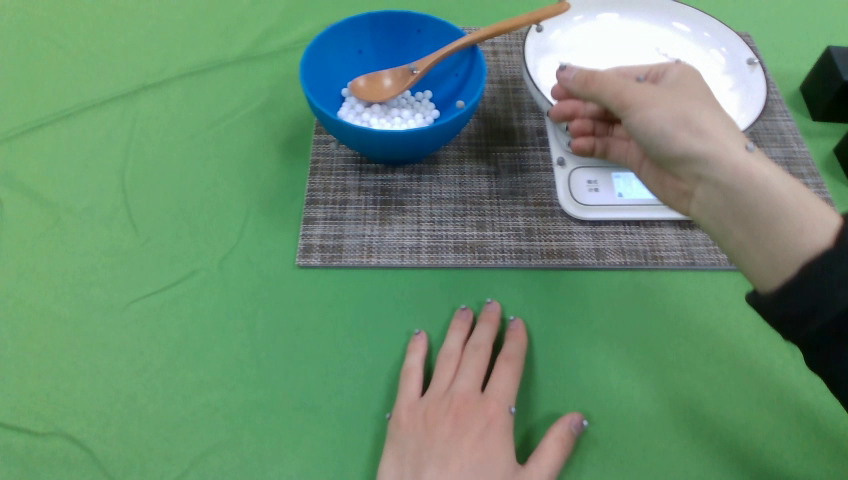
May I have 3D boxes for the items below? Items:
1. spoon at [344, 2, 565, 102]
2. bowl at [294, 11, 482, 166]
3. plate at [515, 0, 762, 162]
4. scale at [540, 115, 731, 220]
[{"bbox_3d":[0.024,-0.158,0.505,0.193,0.022,0.041,-22,48,10],"label":"spoon"},{"bbox_3d":[-0.029,-0.117,0.515,0.151,0.077,0.150,1,55,-1],"label":"bowl"},{"bbox_3d":[0.181,-0.142,0.529,0.209,0.038,0.207,2,55,-2],"label":"plate"},{"bbox_3d":[0.180,-0.104,0.543,0.149,0.032,0.199,0,55,-2],"label":"scale"}]
